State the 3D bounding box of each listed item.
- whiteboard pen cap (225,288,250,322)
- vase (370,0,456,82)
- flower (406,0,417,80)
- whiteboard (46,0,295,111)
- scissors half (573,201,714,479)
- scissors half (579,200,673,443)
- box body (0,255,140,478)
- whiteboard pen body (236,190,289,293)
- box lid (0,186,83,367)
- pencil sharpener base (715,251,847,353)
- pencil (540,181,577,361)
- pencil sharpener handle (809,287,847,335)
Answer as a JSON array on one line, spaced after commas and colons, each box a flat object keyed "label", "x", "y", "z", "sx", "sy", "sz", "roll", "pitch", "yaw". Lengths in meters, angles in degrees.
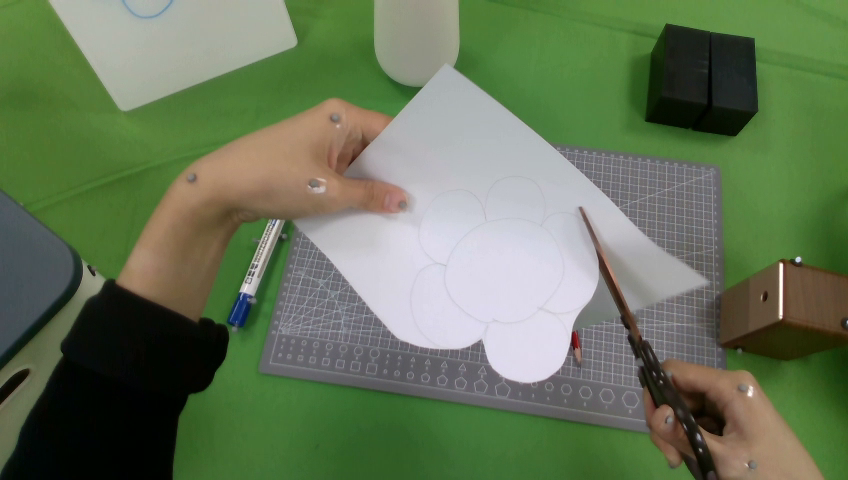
[{"label": "whiteboard pen cap", "x": -0.182, "y": 0.063, "z": 0.598, "sx": 0.018, "sy": 0.018, "sz": 0.033, "roll": 14, "pitch": 65, "yaw": 5}, {"label": "vase", "x": -0.013, "y": -0.257, "z": 0.630, "sx": 0.098, "sy": 0.201, "sz": 0.097, "roll": 0, "pitch": 67, "yaw": 0}, {"label": "flower", "x": -0.017, "y": -0.300, "z": 0.557, "sx": 0.044, "sy": 0.365, "sz": 0.038, "roll": 1, "pitch": 51, "yaw": 3}, {"label": "whiteboard", "x": -0.299, "y": -0.331, "z": 0.627, "sx": 0.217, "sy": 0.308, "sz": 0.142, "roll": -25, "pitch": 52, "yaw": -10}, {"label": "scissors half", "x": 0.125, "y": 0.056, "z": 0.351, "sx": 0.013, "sy": 0.040, "sz": 0.174, "roll": -24, "pitch": 83, "yaw": 3}, {"label": "scissors half", "x": 0.126, "y": 0.053, "z": 0.372, "sx": 0.013, "sy": 0.040, "sz": 0.176, "roll": -24, "pitch": 109, "yaw": 8}, {"label": "box body", "x": -0.474, "y": 0.042, "z": 0.524, "sx": 0.362, "sy": 0.161, "sz": 0.253, "roll": 34, "pitch": 72, "yaw": 11}, {"label": "whiteboard pen body", "x": -0.168, "y": 0.011, "z": 0.620, "sx": 0.017, "sy": 0.017, "sz": 0.140, "roll": 15, "pitch": 68, "yaw": 5}, {"label": "box lid", "x": -0.474, "y": 0.014, "z": 0.455, "sx": 0.370, "sy": 0.015, "sz": 0.262, "roll": 34, "pitch": 72, "yaw": 11}, {"label": "pencil sharpener base", "x": 0.334, "y": 0.061, "z": 0.565, "sx": 0.077, "sy": 0.107, "sz": 0.061, "roll": 12, "pitch": 68, "yaw": 0}, {"label": "pencil", "x": 0.140, "y": 0.028, "z": 0.624, "sx": 0.012, "sy": 0.012, "sz": 0.192, "roll": -5, "pitch": 71, "yaw": -3}, {"label": "pencil sharpener handle", "x": 0.385, "y": 0.069, "z": 0.553, "sx": 0.030, "sy": 0.068, "sz": 0.035, "roll": 12, "pitch": 63, "yaw": 0}]
